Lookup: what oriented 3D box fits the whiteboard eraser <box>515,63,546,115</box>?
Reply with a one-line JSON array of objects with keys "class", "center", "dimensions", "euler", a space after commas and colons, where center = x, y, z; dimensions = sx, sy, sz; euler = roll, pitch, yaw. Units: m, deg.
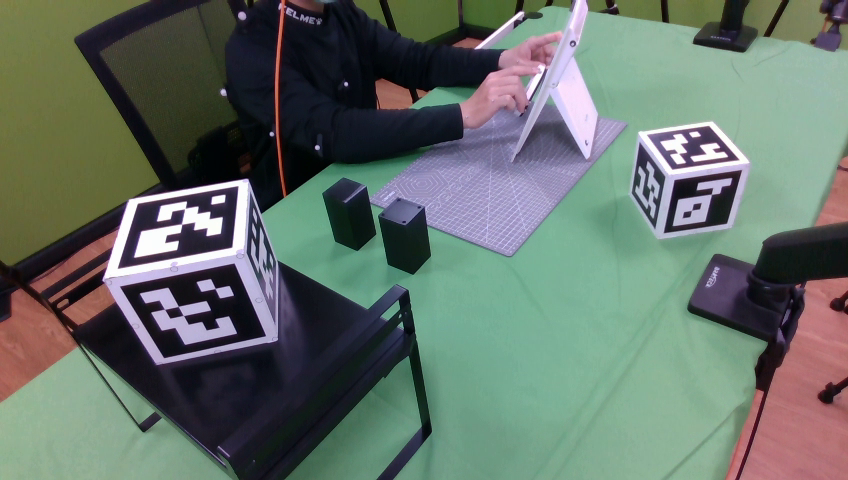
[{"class": "whiteboard eraser", "center": [0.201, -0.286, 1.143], "dimensions": [0.019, 0.101, 0.041], "euler": [25, 25, -3]}]

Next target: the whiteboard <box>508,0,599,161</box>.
[{"class": "whiteboard", "center": [0.285, -0.289, 1.089], "dimensions": [0.144, 0.305, 0.217], "euler": [22, 45, 3]}]
